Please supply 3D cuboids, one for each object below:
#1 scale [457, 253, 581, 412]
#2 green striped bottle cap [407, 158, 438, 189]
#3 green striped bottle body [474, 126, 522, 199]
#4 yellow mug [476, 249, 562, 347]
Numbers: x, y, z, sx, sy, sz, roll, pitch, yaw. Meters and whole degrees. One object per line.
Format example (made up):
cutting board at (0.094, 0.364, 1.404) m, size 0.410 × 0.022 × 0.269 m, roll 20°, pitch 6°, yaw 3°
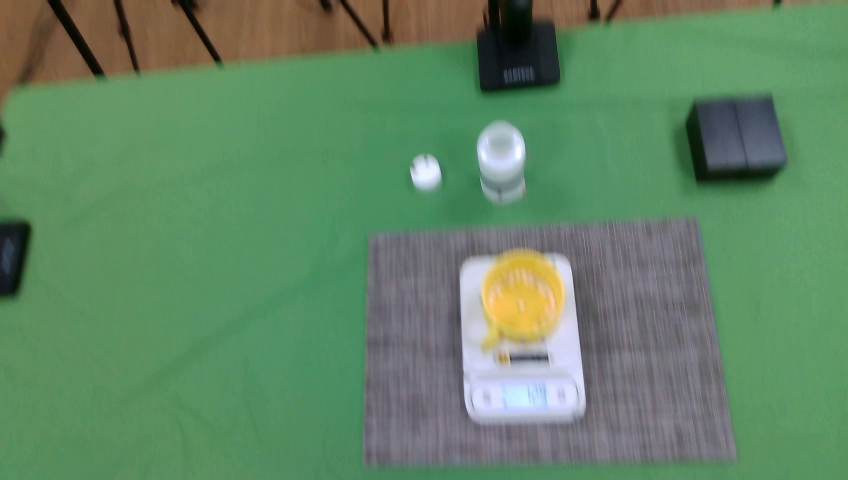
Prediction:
scale at (0.119, 0.115, 0.777) m, size 0.148 × 0.032 × 0.199 m, roll -3°, pitch 70°, yaw 7°
green striped bottle cap at (-0.002, -0.098, 0.885) m, size 0.044 × 0.020 × 0.044 m, roll -2°, pitch 74°, yaw 6°
green striped bottle body at (0.100, -0.106, 0.818) m, size 0.063 × 0.120 × 0.063 m, roll -2°, pitch 69°, yaw 7°
yellow mug at (0.106, 0.079, 0.741) m, size 0.099 × 0.064 × 0.130 m, roll 37°, pitch 79°, yaw 18°
